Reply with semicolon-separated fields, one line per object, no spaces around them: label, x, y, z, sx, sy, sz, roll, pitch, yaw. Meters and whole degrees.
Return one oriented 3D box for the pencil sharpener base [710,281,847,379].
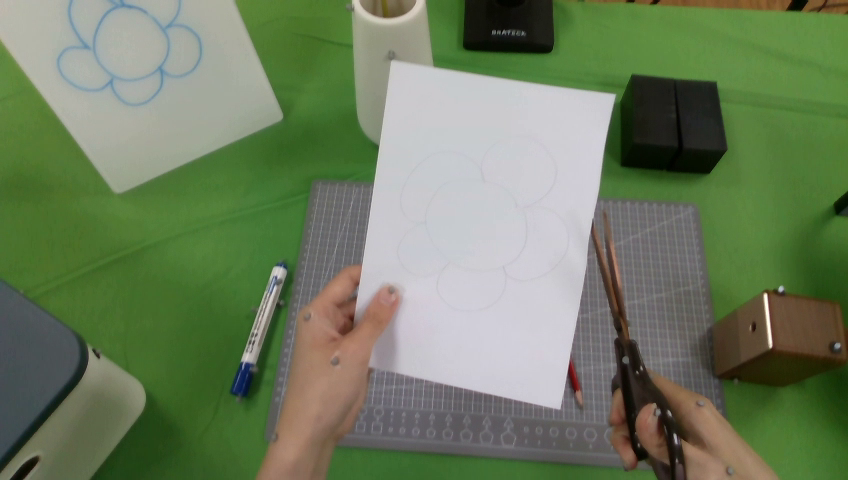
pencil sharpener base;0.335;0.089;0.580;0.077;0.108;0.061;8;64;0

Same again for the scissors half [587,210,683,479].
scissors half;0.127;0.059;0.376;0.013;0.040;0.173;-10;67;-3

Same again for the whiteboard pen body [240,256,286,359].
whiteboard pen body;-0.170;0.080;0.632;0.017;0.017;0.140;10;63;5

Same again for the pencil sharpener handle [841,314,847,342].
pencil sharpener handle;0.386;0.093;0.568;0.030;0.068;0.035;8;59;1

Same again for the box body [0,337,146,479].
box body;-0.472;0.126;0.530;0.362;0.161;0.253;29;68;12

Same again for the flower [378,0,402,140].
flower;-0.042;-0.245;0.594;0.044;0.365;0.038;-3;47;2

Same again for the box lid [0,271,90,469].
box lid;-0.474;0.093;0.463;0.370;0.015;0.262;29;68;12

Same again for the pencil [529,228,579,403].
pencil;0.138;0.075;0.639;0.012;0.012;0.192;-9;67;-4

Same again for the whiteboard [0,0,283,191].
whiteboard;-0.326;-0.250;0.662;0.217;0.308;0.142;-28;48;-12

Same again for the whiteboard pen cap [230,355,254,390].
whiteboard pen cap;-0.180;0.132;0.606;0.018;0.018;0.033;10;60;5

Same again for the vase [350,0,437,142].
vase;-0.035;-0.196;0.663;0.098;0.201;0.097;0;63;1

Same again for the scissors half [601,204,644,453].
scissors half;0.128;0.061;0.401;0.013;0.040;0.176;-11;107;1
